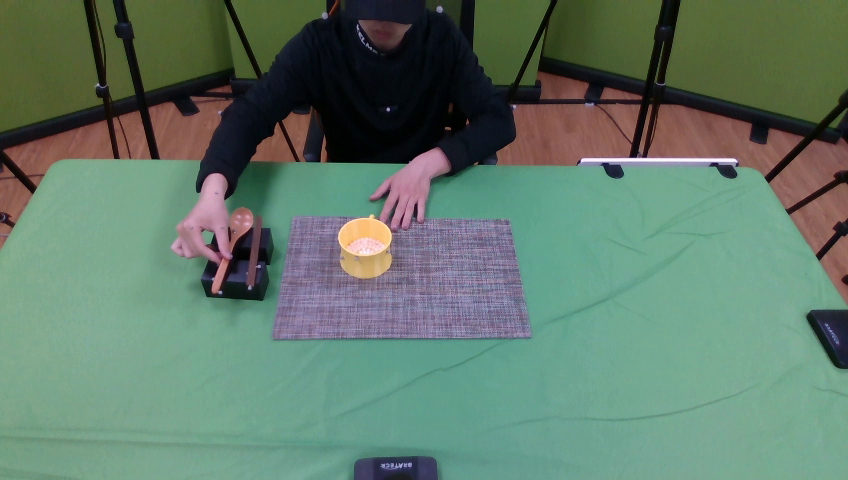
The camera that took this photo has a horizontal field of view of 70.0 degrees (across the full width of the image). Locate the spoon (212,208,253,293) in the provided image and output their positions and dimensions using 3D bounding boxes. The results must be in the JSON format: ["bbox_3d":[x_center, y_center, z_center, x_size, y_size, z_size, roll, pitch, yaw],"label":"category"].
[{"bbox_3d":[-0.347,0.015,1.087,0.042,0.022,0.192,24,43,-18],"label":"spoon"}]

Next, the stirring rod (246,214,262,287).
[{"bbox_3d":[-0.308,0.016,1.097,0.014,0.006,0.175,27,36,-31],"label":"stirring rod"}]

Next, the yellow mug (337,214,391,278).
[{"bbox_3d":[-0.110,0.003,1.152,0.100,0.064,0.130,7,45,2],"label":"yellow mug"}]
